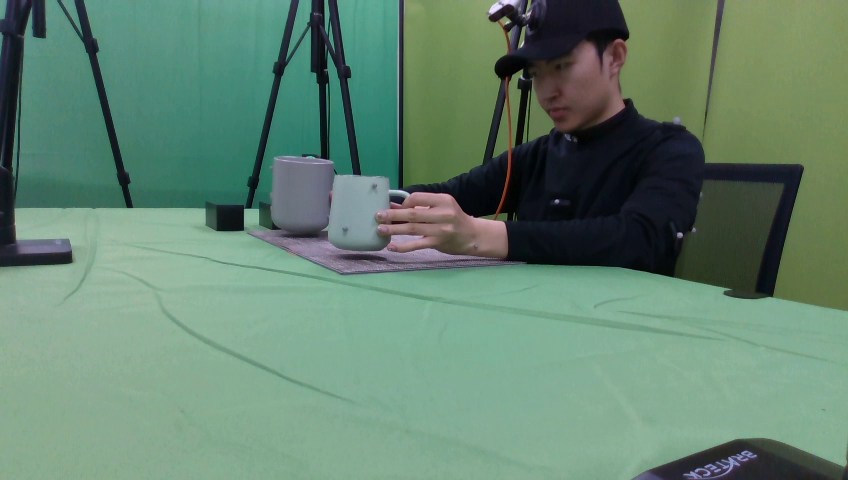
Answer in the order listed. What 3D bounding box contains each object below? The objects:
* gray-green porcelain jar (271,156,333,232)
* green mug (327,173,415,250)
[{"bbox_3d":[-0.219,-0.083,1.084,0.106,0.126,0.106,4,11,-1],"label":"gray-green porcelain jar"},{"bbox_3d":[-0.075,-0.040,0.867,0.125,0.105,0.092,4,7,4],"label":"green mug"}]
